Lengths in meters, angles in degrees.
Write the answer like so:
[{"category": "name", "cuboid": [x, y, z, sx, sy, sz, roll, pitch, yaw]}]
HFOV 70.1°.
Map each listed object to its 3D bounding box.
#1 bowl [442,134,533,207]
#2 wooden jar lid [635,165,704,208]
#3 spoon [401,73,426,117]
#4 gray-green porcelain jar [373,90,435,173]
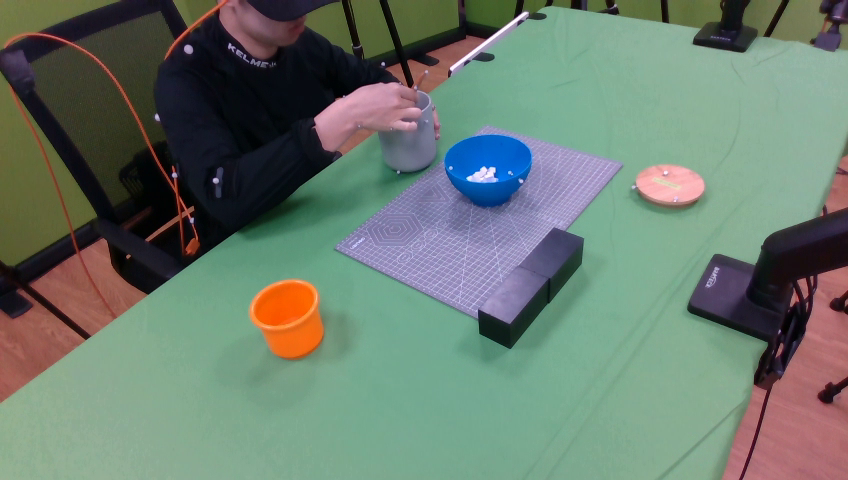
[{"category": "bowl", "cuboid": [0.110, -0.109, 1.033, 0.151, 0.077, 0.150, -4, 41, 4]}, {"category": "wooden jar lid", "cuboid": [0.410, -0.089, 1.014, 0.108, 0.021, 0.108, -5, 42, 5]}, {"category": "spoon", "cuboid": [-0.029, -0.237, 1.082, 0.042, 0.193, 0.021, -22, 72, -23]}, {"category": "gray-green porcelain jar", "cuboid": [-0.034, -0.198, 1.125, 0.106, 0.127, 0.105, -4, 40, 4]}]
